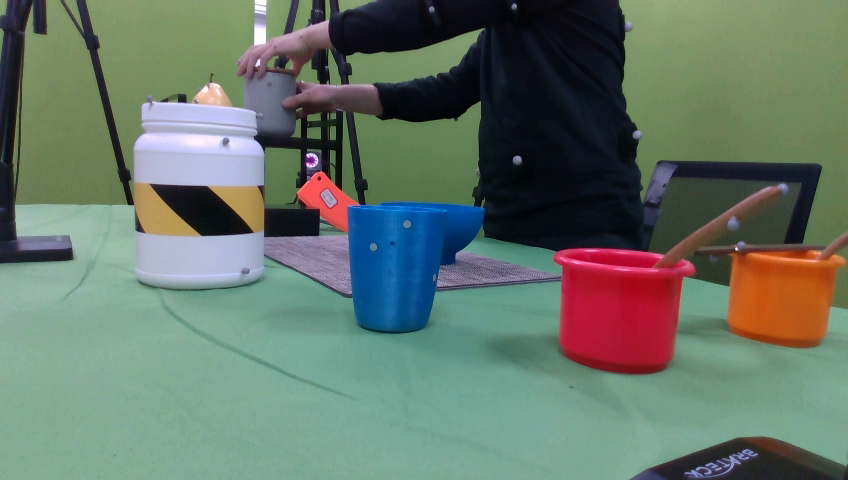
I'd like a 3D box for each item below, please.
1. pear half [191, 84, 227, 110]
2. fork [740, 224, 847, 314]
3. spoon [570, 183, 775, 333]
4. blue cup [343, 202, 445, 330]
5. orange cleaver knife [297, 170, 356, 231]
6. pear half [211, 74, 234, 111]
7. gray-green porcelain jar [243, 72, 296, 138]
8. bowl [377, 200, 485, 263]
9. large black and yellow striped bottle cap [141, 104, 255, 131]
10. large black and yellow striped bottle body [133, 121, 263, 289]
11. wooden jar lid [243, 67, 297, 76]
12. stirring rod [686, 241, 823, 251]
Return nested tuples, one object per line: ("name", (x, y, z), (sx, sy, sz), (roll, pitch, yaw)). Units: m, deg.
("pear half", (-0.406, -0.248, 1.128), (0.070, 0.088, 0.031), (6, 6, 2))
("fork", (0.323, 0.013, 0.485), (0.028, 0.018, 0.207), (9, -38, -5))
("spoon", (0.160, 0.020, 0.413), (0.042, 0.021, 0.193), (0, -36, -24))
("blue cup", (-0.027, 0.021, 0.510), (0.093, 0.100, 0.092), (3, 5, 0))
("orange cleaver knife", (-0.150, -0.058, 1.170), (0.212, 0.077, 0.012), (33, -15, -32))
("pear half", (-0.401, -0.261, 1.162), (0.076, 0.109, 0.056), (7, 7, 2))
("gray-green porcelain jar", (-0.322, -0.279, 1.263), (0.106, 0.126, 0.106), (3, 8, 0))
("bowl", (0.008, -0.012, 0.842), (0.151, 0.077, 0.151), (2, 7, 0))
("large black and yellow striped bottle cap", (-0.241, -0.131, 0.650), (0.115, 0.019, 0.115), (3, 8, 0))
("large black and yellow striped bottle body", (-0.243, -0.048, 0.659), (0.131, 0.184, 0.130), (2, 7, 0))
("wooden jar lid", (-0.319, -0.342, 1.254), (0.108, 0.020, 0.108), (3, 8, 0))
("stirring rod", (0.289, 0.005, 0.525), (0.177, 0.006, 0.014), (-1, 5, -26))
